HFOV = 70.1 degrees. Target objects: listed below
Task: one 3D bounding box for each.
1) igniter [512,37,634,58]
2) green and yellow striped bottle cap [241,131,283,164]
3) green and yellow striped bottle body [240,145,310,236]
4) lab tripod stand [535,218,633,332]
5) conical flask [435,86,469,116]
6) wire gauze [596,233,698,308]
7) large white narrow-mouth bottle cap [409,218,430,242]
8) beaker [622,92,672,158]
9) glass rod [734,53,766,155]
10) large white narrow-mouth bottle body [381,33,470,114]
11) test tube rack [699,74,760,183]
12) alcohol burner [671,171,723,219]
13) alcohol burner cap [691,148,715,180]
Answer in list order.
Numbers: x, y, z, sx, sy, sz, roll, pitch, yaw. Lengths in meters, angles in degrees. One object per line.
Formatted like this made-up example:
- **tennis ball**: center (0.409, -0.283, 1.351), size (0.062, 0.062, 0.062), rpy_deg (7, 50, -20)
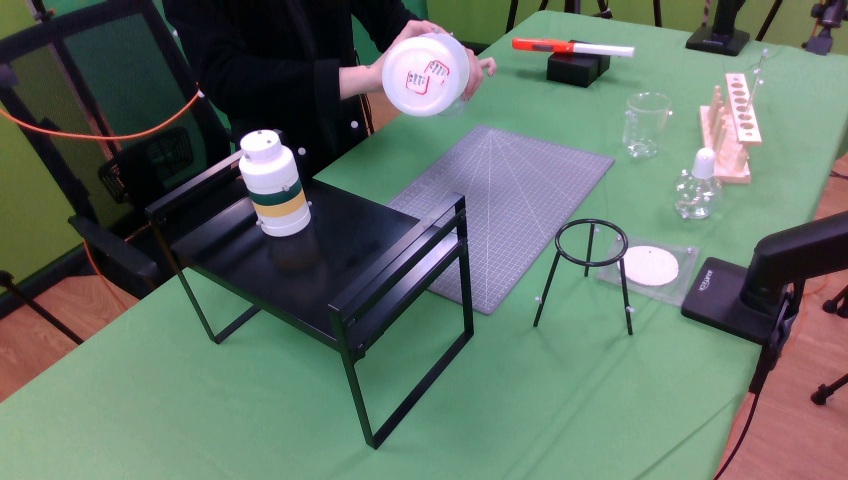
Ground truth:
- **igniter**: center (0.328, -0.433, 1.360), size (0.275, 0.025, 0.057), rpy_deg (12, 33, 20)
- **green and yellow striped bottle cap**: center (-0.187, -0.107, 0.695), size (0.045, 0.020, 0.045), rpy_deg (-3, 39, 3)
- **green and yellow striped bottle body**: center (-0.181, -0.069, 0.729), size (0.063, 0.120, 0.063), rpy_deg (-4, 40, 4)
- **lab tripod stand**: center (0.215, 0.050, 0.803), size (0.148, 0.132, 0.147), rpy_deg (-4, 42, 4)
- **conical flask**: center (0.037, -0.262, 1.004), size (0.075, 0.122, 0.075), rpy_deg (-1, 79, 4)
- **wire gauze**: center (0.331, 0.037, 0.897), size (0.124, 0.011, 0.121), rpy_deg (18, 47, 26)
- **large white narrow-mouth bottle cap**: center (-0.008, -0.017, 0.999), size (0.038, 0.024, 0.037), rpy_deg (-3, 39, 3)
- **beaker**: center (0.402, -0.210, 1.106), size (0.074, 0.101, 0.083), rpy_deg (-9, 40, -2)
- **glass rod**: center (0.540, -0.220, 1.007), size (0.008, 0.201, 0.008), rpy_deg (-5, 45, 6)
- **large white narrow-mouth bottle body**: center (0.013, -0.239, 0.853), size (0.101, 0.102, 0.194), rpy_deg (4, 21, 13)
- **test tube rack**: center (0.547, -0.208, 1.095), size (0.066, 0.085, 0.242), rpy_deg (6, 42, 16)
- **alcohol burner**: center (0.434, -0.093, 0.955), size (0.078, 0.119, 0.077), rpy_deg (-3, 43, 3)
- **alcohol burner cap**: center (0.432, -0.120, 0.931), size (0.034, 0.048, 0.033), rpy_deg (-7, 48, 8)
